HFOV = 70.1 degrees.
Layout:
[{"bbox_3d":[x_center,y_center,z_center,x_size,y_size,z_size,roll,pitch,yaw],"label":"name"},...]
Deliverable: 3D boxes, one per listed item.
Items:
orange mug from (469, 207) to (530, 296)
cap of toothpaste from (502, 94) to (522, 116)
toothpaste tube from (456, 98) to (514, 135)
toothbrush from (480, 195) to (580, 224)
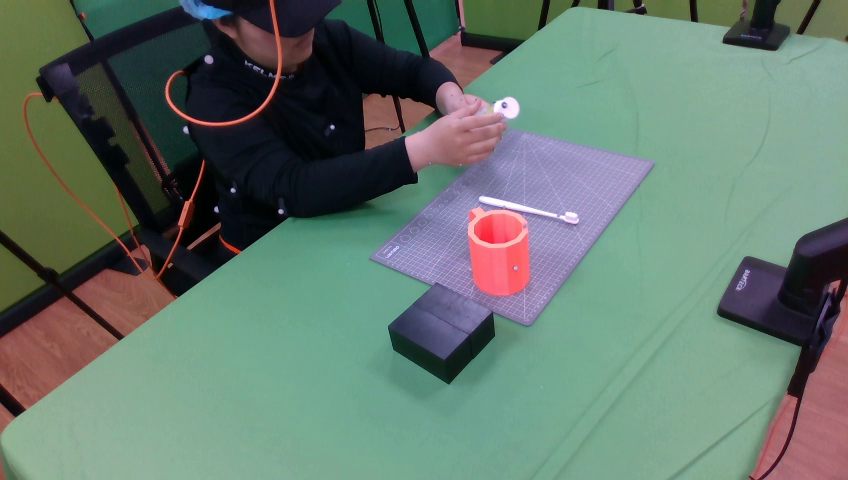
[{"bbox_3d":[0.104,0.008,0.894,0.084,0.101,0.125,-22,46,-14],"label":"orange mug"},{"bbox_3d":[0.142,-0.220,0.989,0.037,0.037,0.011,-28,9,-20],"label":"cap of toothpaste"},{"bbox_3d":[0.111,-0.218,1.059,0.055,0.034,0.164,-41,15,-22],"label":"toothpaste tube"},{"bbox_3d":[0.175,-0.054,1.016,0.180,0.017,0.014,15,58,29],"label":"toothbrush"}]
